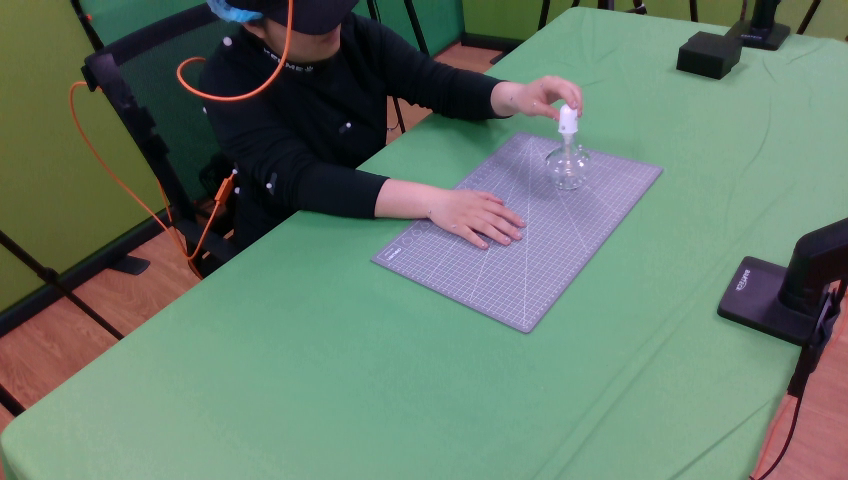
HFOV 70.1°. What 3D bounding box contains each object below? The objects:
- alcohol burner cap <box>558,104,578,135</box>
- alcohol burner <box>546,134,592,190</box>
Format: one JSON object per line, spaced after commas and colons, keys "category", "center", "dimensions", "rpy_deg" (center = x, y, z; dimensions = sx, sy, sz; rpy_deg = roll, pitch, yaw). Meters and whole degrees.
{"category": "alcohol burner cap", "center": [0.237, -0.199, 0.992], "dimensions": [0.034, 0.048, 0.033], "rpy_deg": [-6, 30, 4]}
{"category": "alcohol burner", "center": [0.247, -0.146, 1.035], "dimensions": [0.078, 0.120, 0.077], "rpy_deg": [-7, 41, 6]}
